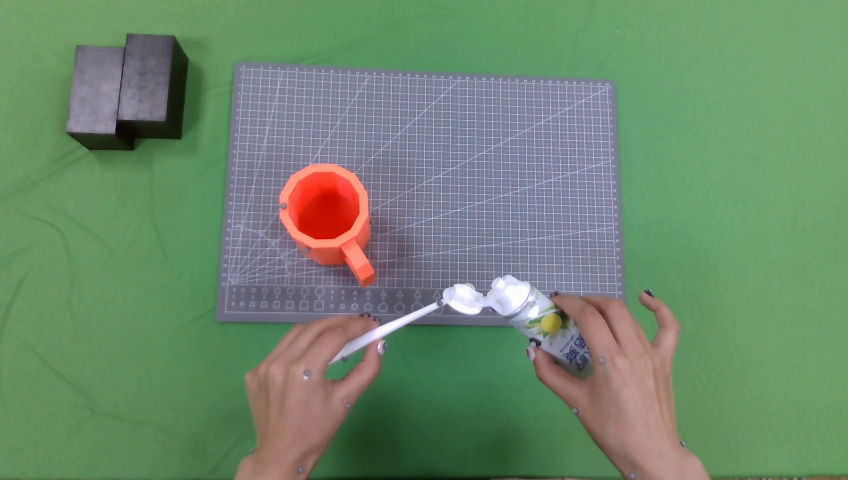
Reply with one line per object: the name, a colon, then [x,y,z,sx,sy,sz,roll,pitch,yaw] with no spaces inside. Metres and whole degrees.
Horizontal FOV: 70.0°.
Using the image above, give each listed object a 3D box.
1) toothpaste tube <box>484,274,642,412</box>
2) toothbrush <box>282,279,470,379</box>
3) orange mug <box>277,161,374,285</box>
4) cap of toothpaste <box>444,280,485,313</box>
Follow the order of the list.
toothpaste tube: [0.114,0.083,0.510,0.166,0.034,0.055,38,94,-17]
toothbrush: [-0.040,0.077,0.526,0.182,0.016,0.014,-26,90,-3]
orange mug: [-0.092,-0.012,0.626,0.083,0.101,0.125,-33,78,-10]
cap of toothpaste: [0.034,0.045,0.493,0.037,0.037,0.011,22,120,0]
